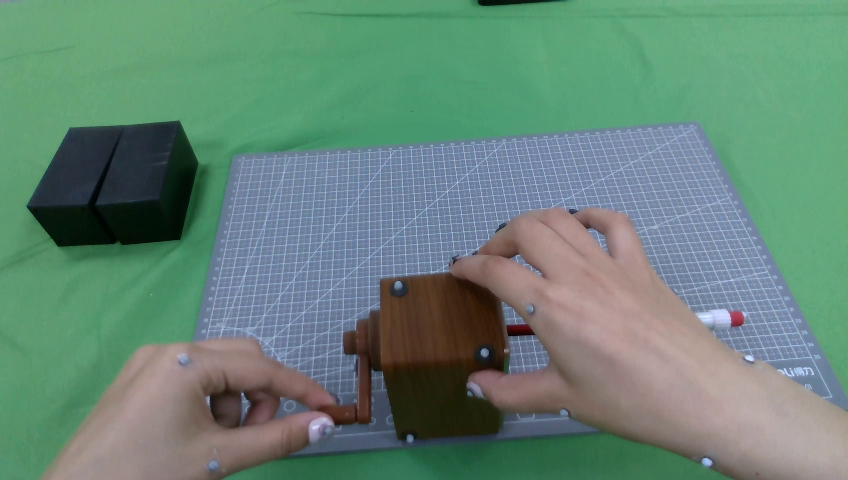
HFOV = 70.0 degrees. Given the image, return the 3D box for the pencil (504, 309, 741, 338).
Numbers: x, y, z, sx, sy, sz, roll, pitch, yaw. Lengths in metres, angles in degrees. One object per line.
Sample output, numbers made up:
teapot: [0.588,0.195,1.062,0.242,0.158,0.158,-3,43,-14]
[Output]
pencil: [0.089,0.051,0.355,0.194,0.012,0.012,-3,50,-1]

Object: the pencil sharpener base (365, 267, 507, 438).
pencil sharpener base: [0.007,0.073,0.374,0.077,0.108,0.060,-5,50,0]

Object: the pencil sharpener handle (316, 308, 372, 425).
pencil sharpener handle: [-0.044,0.071,0.342,0.030,0.036,0.067,-5,52,0]
